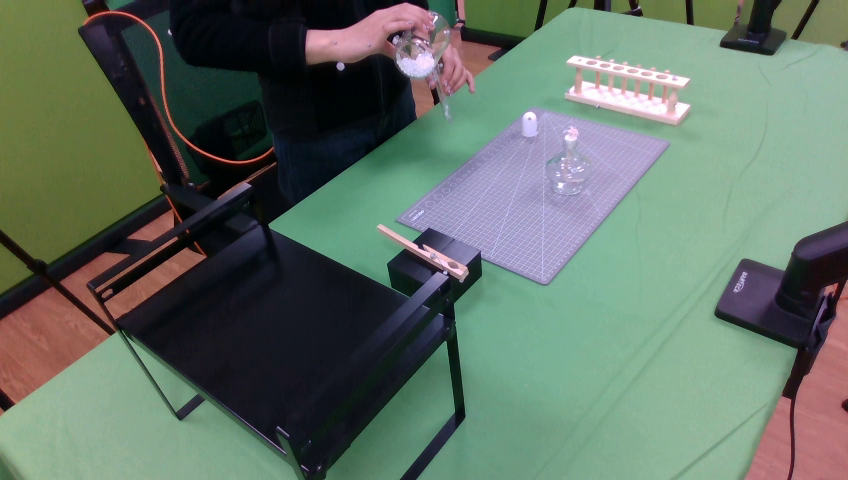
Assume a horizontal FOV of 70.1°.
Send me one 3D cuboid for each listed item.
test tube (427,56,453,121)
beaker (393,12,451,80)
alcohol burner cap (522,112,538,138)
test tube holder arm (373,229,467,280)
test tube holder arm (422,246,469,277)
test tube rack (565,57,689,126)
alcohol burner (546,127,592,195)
[{"bbox_3d":[0.030,-0.271,1.093,0.017,0.151,0.017,-8,56,12],"label":"test tube"},{"bbox_3d":[-0.003,-0.309,0.976,0.074,0.084,0.100,7,43,15],"label":"beaker"},{"bbox_3d":[0.210,-0.230,1.195,0.034,0.048,0.033,-5,40,5],"label":"alcohol burner cap"},{"bbox_3d":[-0.010,0.019,0.885,0.177,0.015,0.013,23,47,33],"label":"test tube holder arm"},{"bbox_3d":[0.028,0.031,0.864,0.087,0.015,0.010,25,48,34],"label":"test tube holder arm"},{"bbox_3d":[0.412,-0.311,1.230,0.240,0.085,0.067,23,49,32],"label":"test tube rack"},{"bbox_3d":[0.246,-0.137,1.024,0.078,0.119,0.077,-4,38,4],"label":"alcohol burner"}]
